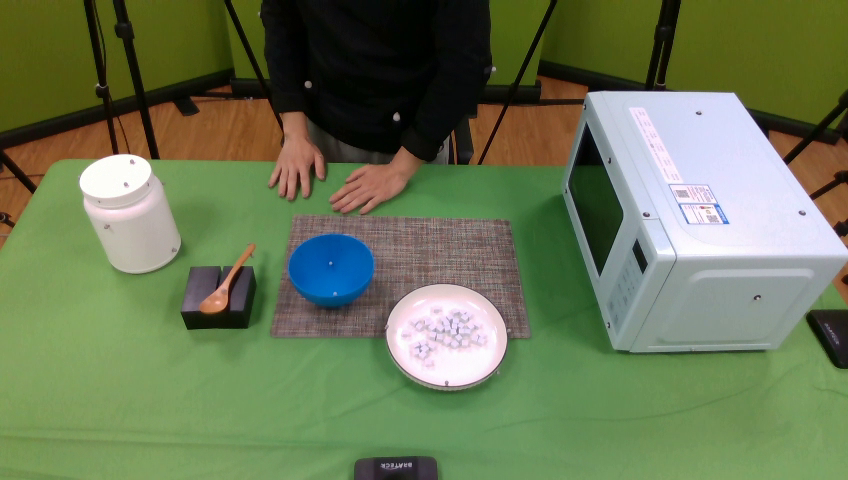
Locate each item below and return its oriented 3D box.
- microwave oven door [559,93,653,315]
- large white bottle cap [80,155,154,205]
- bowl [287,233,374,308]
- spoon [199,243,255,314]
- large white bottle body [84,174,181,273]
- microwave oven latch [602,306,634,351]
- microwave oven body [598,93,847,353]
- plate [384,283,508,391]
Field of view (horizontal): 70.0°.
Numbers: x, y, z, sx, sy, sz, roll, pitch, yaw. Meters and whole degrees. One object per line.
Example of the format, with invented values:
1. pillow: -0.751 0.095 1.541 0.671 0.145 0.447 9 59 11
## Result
1. microwave oven door: 0.327 -0.074 1.123 0.039 0.245 0.353 -1 46 -5
2. large white bottle cap: -0.519 -0.103 1.027 0.115 0.018 0.114 2 46 -2
3. bowl: -0.165 0.067 1.078 0.151 0.077 0.150 3 46 -3
4. spoon: -0.333 0.062 1.051 0.041 0.022 0.193 6 41 9
5. large white bottle body: -0.523 -0.045 1.088 0.131 0.185 0.130 2 46 -2
6. microwave oven latch: 0.332 0.153 1.044 0.030 0.029 0.078 0 45 -4
7. microwave oven body: 0.475 -0.041 1.109 0.326 0.261 0.438 -1 45 -4
8. plate: 0.036 0.166 1.029 0.209 0.038 0.208 2 49 -2
